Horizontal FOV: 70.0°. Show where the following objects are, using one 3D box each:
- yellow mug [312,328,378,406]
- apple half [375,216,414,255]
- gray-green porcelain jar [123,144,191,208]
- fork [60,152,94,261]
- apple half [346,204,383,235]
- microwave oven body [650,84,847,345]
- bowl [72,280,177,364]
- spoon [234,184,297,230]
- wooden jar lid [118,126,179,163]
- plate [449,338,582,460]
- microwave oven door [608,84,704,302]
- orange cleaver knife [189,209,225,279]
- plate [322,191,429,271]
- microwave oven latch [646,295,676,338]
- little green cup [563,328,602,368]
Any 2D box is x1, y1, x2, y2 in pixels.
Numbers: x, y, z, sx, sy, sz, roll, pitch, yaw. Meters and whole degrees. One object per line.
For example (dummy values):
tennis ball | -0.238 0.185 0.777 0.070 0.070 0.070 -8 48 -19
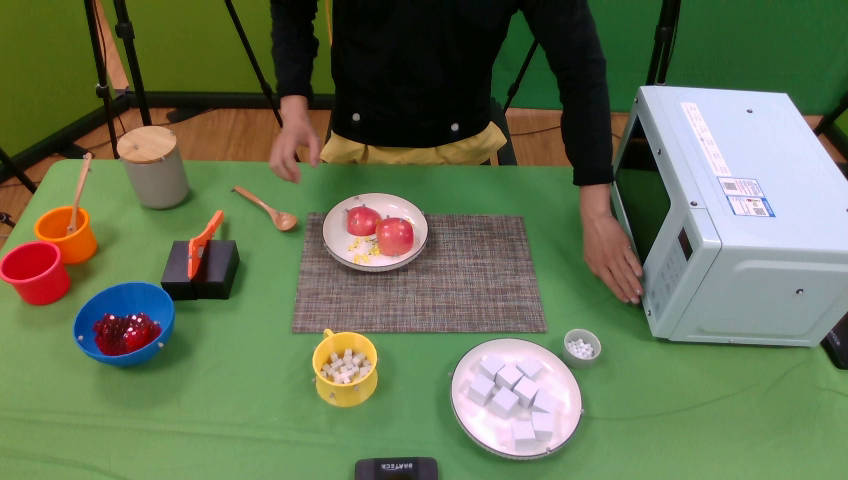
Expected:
yellow mug | -0.132 0.193 0.971 0.100 0.064 0.130 -22 51 -22
apple half | -0.056 -0.017 1.169 0.075 0.053 0.080 0 45 -7
gray-green porcelain jar | -0.530 -0.137 1.213 0.106 0.127 0.105 2 46 -2
fork | -0.638 -0.063 1.119 0.028 0.018 0.207 12 90 7
apple half | -0.119 -0.049 1.207 0.081 0.033 0.081 2 50 -3
microwave oven body | 0.569 -0.054 1.116 0.326 0.261 0.439 2 46 -1
bowl | -0.473 0.147 0.982 0.151 0.077 0.150 2 46 -2
spoon | -0.327 -0.073 1.239 0.193 0.022 0.041 34 70 25
wooden jar lid | -0.528 -0.181 1.167 0.108 0.021 0.107 3 47 -4
plate | 0.141 0.251 0.956 0.208 0.039 0.206 2 46 -2
microwave oven door | 0.424 -0.096 1.138 0.039 0.245 0.353 2 47 -1
orange cleaver knife | -0.401 0.002 1.122 0.012 0.077 0.210 4 23 -4
plate | -0.094 -0.015 1.185 0.209 0.038 0.208 2 46 -2
microwave oven latch | 0.413 0.133 1.060 0.030 0.029 0.078 4 46 1
little green cup | 0.265 0.184 1.025 0.061 0.039 0.061 1 46 -1
